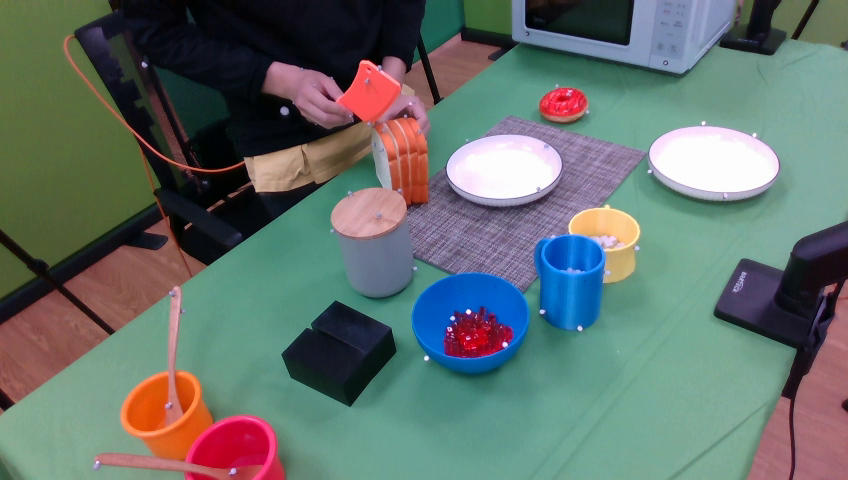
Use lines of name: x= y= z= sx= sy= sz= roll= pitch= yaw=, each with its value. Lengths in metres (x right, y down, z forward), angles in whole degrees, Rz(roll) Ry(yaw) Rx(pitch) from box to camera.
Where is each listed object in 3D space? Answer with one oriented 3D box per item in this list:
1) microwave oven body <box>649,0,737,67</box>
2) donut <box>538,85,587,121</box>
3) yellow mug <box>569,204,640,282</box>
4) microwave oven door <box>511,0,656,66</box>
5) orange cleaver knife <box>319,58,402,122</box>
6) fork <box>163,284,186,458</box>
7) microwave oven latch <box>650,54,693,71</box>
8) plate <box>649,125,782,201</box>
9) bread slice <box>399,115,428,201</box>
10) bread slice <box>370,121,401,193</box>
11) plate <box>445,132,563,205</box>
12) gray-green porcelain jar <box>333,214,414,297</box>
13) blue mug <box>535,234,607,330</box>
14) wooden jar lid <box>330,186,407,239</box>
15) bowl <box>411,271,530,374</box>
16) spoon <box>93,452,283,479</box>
microwave oven body: x=0.475 y=-0.602 z=1.411 sx=0.438 sy=0.261 sz=0.327 roll=23 pitch=50 yaw=32
donut: x=0.283 y=-0.280 z=1.239 sx=0.099 sy=0.048 sz=0.098 roll=-5 pitch=42 yaw=5
yellow mug: x=0.268 y=-0.005 z=0.904 sx=0.099 sy=0.064 sz=0.130 roll=7 pitch=41 yaw=15
microwave oven door: x=0.351 y=-0.540 z=1.349 sx=0.353 sy=0.245 sz=0.039 roll=24 pitch=50 yaw=31
orange cleaver knife: x=-0.103 y=-0.215 z=0.935 sx=0.210 sy=0.077 sz=0.012 roll=-20 pitch=34 yaw=57
fork: x=-0.302 y=0.157 z=0.733 sx=0.028 sy=0.019 sz=0.207 roll=-3 pitch=84 yaw=15
microwave oven latch: x=0.531 y=-0.386 z=1.301 sx=0.078 sy=0.029 sz=0.030 roll=26 pitch=51 yaw=33
plate: x=0.493 y=-0.127 z=1.036 sx=0.207 sy=0.039 sz=0.206 roll=-4 pitch=41 yaw=4
bread slice: x=-0.019 y=-0.146 z=1.046 sx=0.018 sy=0.134 sz=0.106 roll=-15 pitch=51 yaw=-16
bread slice: x=-0.067 y=-0.136 z=1.031 sx=0.019 sy=0.132 sz=0.104 roll=-19 pitch=46 yaw=-14
plate: x=0.142 y=-0.123 z=1.076 sx=0.209 sy=0.038 sz=0.208 roll=-4 pitch=41 yaw=4
gray-green porcelain jar: x=-0.071 y=0.012 z=0.887 sx=0.106 sy=0.127 sz=0.105 roll=-4 pitch=41 yaw=4
blue mug: x=0.191 y=0.048 z=0.824 sx=0.082 sy=0.106 sz=0.115 roll=-26 pitch=44 yaw=-20
wooden jar lid: x=-0.077 y=-0.035 z=0.846 sx=0.108 sy=0.021 sz=0.108 roll=-6 pitch=41 yaw=5
bowl: x=0.061 y=0.120 z=0.780 sx=0.151 sy=0.077 sz=0.150 roll=-4 pitch=40 yaw=4
spoon: x=-0.240 y=0.239 z=0.632 sx=0.195 sy=0.021 sz=0.041 roll=26 pitch=33 yaw=-32
